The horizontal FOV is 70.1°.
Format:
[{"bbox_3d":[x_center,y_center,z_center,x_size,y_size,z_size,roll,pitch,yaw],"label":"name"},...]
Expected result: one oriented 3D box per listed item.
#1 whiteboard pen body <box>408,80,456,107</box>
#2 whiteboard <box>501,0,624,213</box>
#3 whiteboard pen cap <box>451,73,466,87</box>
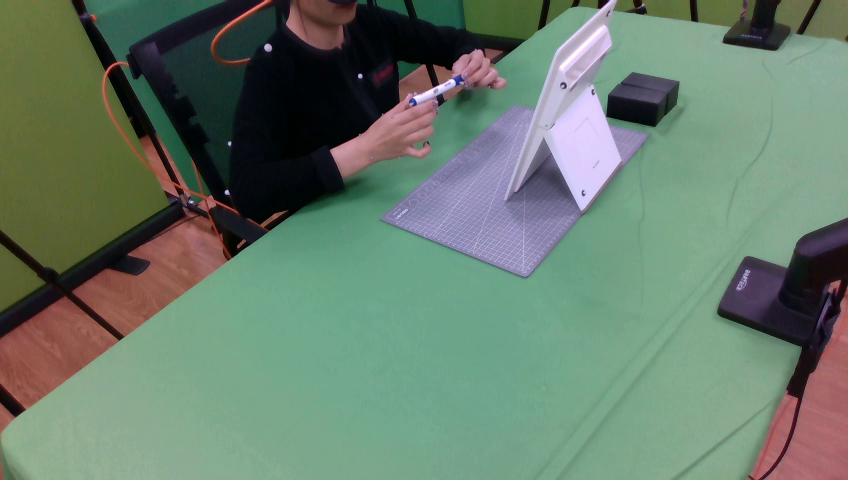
[{"bbox_3d":[0.023,-0.272,1.100,0.017,0.017,0.141,25,44,34],"label":"whiteboard pen body"},{"bbox_3d":[0.271,-0.189,0.977,0.143,0.306,0.218,34,53,16],"label":"whiteboard"},{"bbox_3d":[0.063,-0.300,1.136,0.018,0.018,0.033,25,50,34],"label":"whiteboard pen cap"}]
